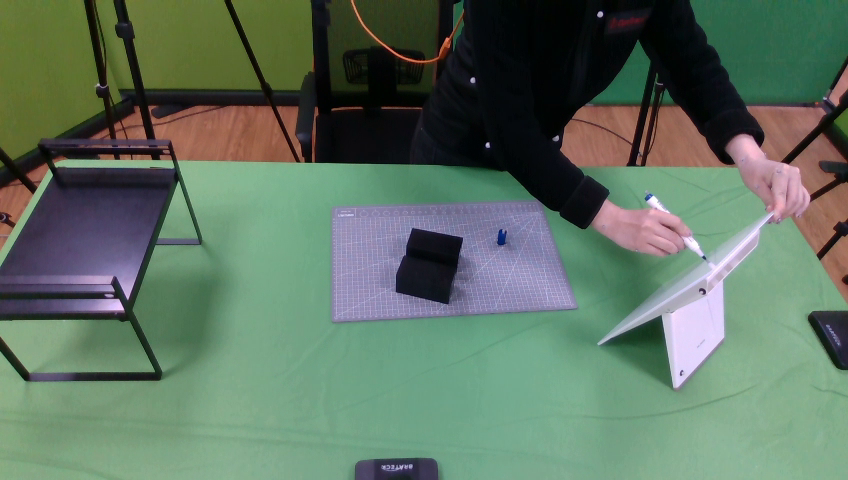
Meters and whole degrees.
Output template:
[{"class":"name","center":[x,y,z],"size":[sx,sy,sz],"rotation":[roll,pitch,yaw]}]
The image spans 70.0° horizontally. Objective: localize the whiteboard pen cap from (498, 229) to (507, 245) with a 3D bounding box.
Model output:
[{"class":"whiteboard pen cap","center":[0.156,-0.005,1.202],"size":[0.018,0.033,0.018],"rotation":[0,44,0]}]

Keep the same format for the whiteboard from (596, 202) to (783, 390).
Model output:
[{"class":"whiteboard","center":[0.460,0.112,0.967],"size":[0.217,0.306,0.143],"rotation":[-31,74,-29]}]

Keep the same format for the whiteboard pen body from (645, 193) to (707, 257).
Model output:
[{"class":"whiteboard pen body","center":[0.415,-0.023,0.994],"size":[0.140,0.017,0.017],"rotation":[48,57,4]}]
